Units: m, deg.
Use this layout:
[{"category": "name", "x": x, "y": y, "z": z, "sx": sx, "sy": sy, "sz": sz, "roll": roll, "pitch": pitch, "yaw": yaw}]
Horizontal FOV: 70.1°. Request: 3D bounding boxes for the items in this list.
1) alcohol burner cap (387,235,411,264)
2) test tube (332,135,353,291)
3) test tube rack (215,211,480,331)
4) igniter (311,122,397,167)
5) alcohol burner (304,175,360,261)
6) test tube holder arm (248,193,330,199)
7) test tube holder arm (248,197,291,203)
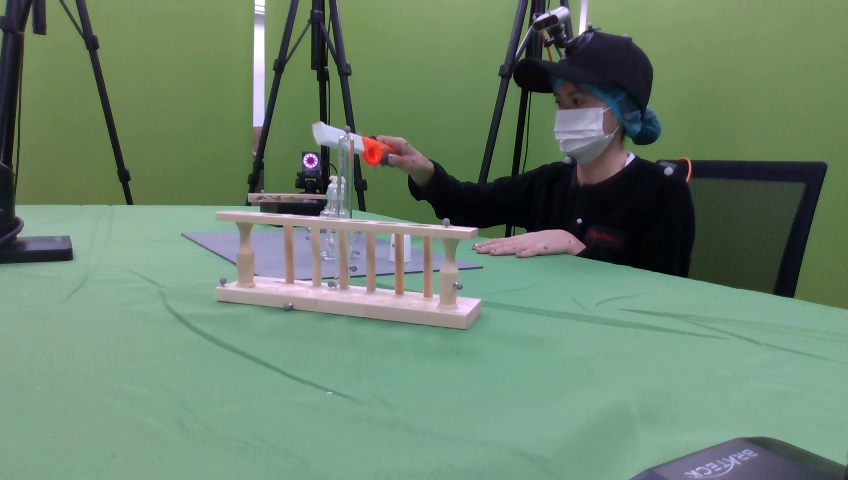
[{"category": "alcohol burner cap", "x": -0.035, "y": 0.009, "z": 0.839, "sx": 0.034, "sy": 0.048, "sz": 0.034, "roll": 2, "pitch": 6, "yaw": 0}, {"category": "test tube", "x": -0.078, "y": -0.025, "z": 0.581, "sx": 0.017, "sy": 0.150, "sz": 0.017, "roll": 3, "pitch": 7, "yaw": 0}, {"category": "test tube rack", "x": -0.071, "y": 0.023, "z": 0.565, "sx": 0.242, "sy": 0.085, "sz": 0.067, "roll": 5, "pitch": 7, "yaw": 16}, {"category": "igniter", "x": -0.106, "y": -0.156, "z": 1.003, "sx": 0.025, "sy": 0.057, "sz": 0.277, "roll": -15, "pitch": -5, "yaw": 20}, {"category": "alcohol burner", "x": -0.126, "y": -0.031, "z": 0.838, "sx": 0.078, "sy": 0.119, "sz": 0.078, "roll": 3, "pitch": 5, "yaw": 0}, {"category": "test tube holder arm", "x": -0.268, "y": -0.089, "z": 1.218, "sx": 0.179, "sy": 0.013, "sz": 0.015, "roll": -6, "pitch": 18, "yaw": -40}, {"category": "test tube holder arm", "x": -0.303, "y": -0.080, "z": 1.191, "sx": 0.088, "sy": 0.010, "sz": 0.015, "roll": -6, "pitch": 18, "yaw": -40}]
